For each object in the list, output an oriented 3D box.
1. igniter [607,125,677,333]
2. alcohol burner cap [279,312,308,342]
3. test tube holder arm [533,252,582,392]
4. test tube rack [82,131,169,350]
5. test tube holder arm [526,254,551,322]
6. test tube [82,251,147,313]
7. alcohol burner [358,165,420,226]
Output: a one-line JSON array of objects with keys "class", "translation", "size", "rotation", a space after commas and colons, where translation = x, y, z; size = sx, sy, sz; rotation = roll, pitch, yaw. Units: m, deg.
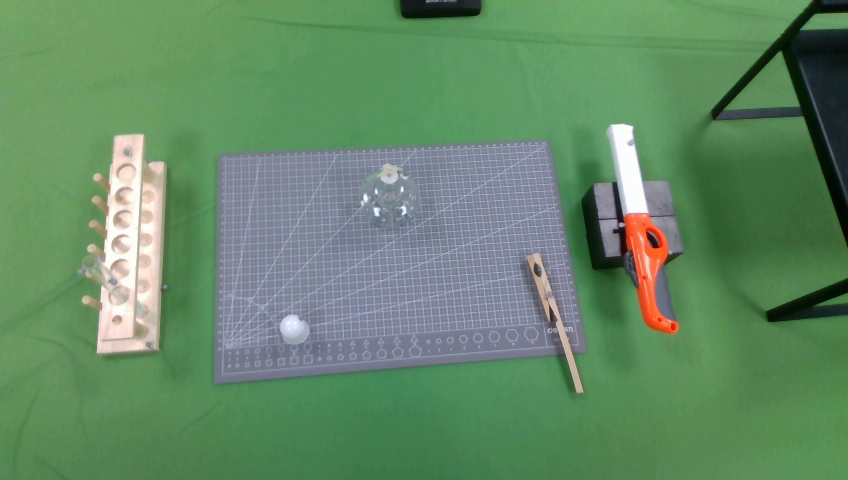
[{"class": "igniter", "translation": [0.267, -0.020, 0.750], "size": [0.057, 0.025, 0.274], "rotation": [-1, 69, -8]}, {"class": "alcohol burner cap", "translation": [-0.156, 0.100, 0.713], "size": [0.034, 0.048, 0.033], "rotation": [2, 70, -5]}, {"class": "test tube holder arm", "translation": [0.165, 0.100, 0.753], "size": [0.013, 0.015, 0.177], "rotation": [-20, 76, 13]}, {"class": "test tube rack", "translation": [-0.352, 0.000, 0.709], "size": [0.067, 0.085, 0.240], "rotation": [-3, 72, -6]}, {"class": "test tube holder arm", "translation": [0.147, 0.060, 0.765], "size": [0.010, 0.015, 0.087], "rotation": [-20, 76, 13]}, {"class": "test tube", "translation": [-0.324, 0.048, 0.643], "size": [0.017, 0.151, 0.017], "rotation": [2, 65, -5]}, {"class": "alcohol burner", "translation": [-0.043, -0.062, 0.739], "size": [0.078, 0.119, 0.077], "rotation": [1, 72, -2]}]
